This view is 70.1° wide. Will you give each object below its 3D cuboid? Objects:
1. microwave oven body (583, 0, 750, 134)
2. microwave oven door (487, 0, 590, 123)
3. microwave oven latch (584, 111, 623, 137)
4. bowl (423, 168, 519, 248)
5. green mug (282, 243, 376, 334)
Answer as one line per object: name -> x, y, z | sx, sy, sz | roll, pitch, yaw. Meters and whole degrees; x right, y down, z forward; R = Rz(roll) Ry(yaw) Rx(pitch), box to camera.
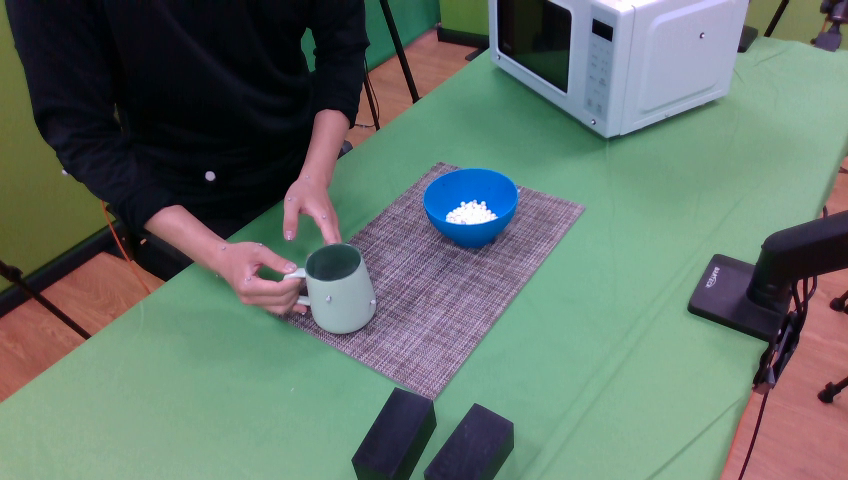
microwave oven body -> 0.382, -0.444, 1.246 | 0.327, 0.261, 0.437 | -22, 42, -16
microwave oven door -> 0.232, -0.420, 1.230 | 0.039, 0.245, 0.352 | -22, 43, -16
microwave oven latch -> 0.337, -0.222, 1.142 | 0.030, 0.029, 0.078 | -21, 42, -14
bowl -> 0.076, -0.041, 0.958 | 0.151, 0.077, 0.150 | -4, 40, 4
green mug -> -0.134, 0.069, 0.837 | 0.125, 0.105, 0.092 | -1, 41, 5
